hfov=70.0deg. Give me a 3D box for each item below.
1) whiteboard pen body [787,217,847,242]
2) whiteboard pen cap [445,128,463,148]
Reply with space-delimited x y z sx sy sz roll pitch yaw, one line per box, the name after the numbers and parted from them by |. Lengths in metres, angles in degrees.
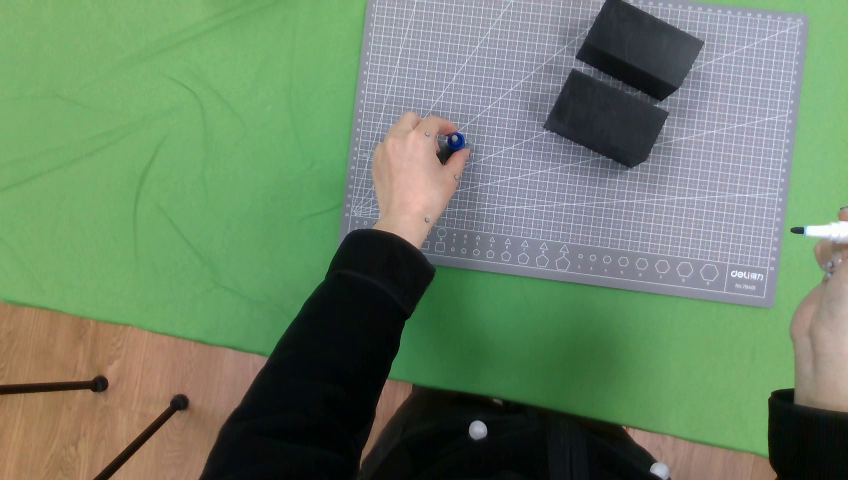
0.307 -0.004 0.378 0.140 0.017 0.017 4 89 20 | whiteboard pen body
0.030 -0.104 0.616 0.018 0.033 0.018 0 91 3 | whiteboard pen cap
